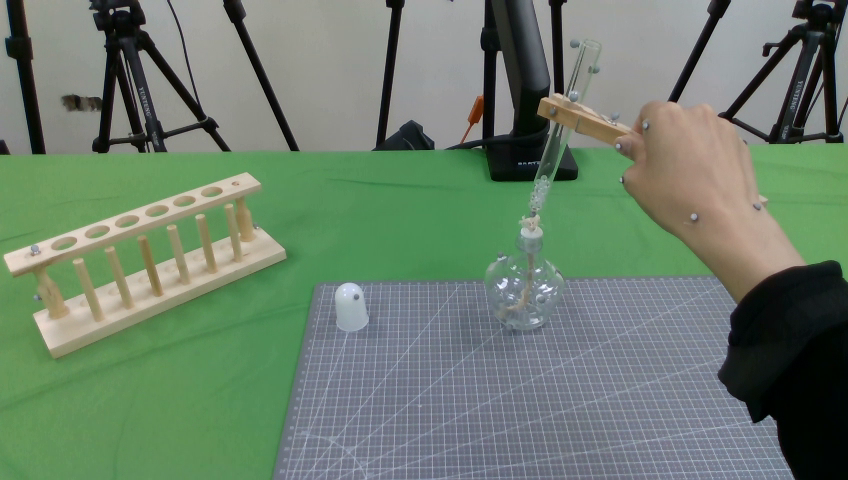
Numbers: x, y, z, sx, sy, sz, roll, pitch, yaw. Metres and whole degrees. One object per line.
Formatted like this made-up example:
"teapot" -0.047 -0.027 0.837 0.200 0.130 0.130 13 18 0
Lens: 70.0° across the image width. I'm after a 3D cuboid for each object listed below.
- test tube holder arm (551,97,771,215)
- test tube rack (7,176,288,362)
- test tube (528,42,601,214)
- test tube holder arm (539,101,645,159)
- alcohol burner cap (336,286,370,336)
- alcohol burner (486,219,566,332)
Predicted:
"test tube holder arm" 0.162 -0.065 0.437 0.013 0.015 0.176 -29 50 -33
"test tube rack" -0.269 0.021 0.622 0.243 0.086 0.066 -26 42 -31
"test tube" 0.109 -0.082 0.483 0.017 0.151 0.017 7 38 -5
"test tube holder arm" 0.126 -0.084 0.457 0.087 0.015 0.010 30 46 28
"alcohol burner cap" -0.070 0.066 0.587 0.034 0.048 0.033 0 36 1
"alcohol burner" 0.098 0.029 0.573 0.078 0.120 0.077 0 37 0
